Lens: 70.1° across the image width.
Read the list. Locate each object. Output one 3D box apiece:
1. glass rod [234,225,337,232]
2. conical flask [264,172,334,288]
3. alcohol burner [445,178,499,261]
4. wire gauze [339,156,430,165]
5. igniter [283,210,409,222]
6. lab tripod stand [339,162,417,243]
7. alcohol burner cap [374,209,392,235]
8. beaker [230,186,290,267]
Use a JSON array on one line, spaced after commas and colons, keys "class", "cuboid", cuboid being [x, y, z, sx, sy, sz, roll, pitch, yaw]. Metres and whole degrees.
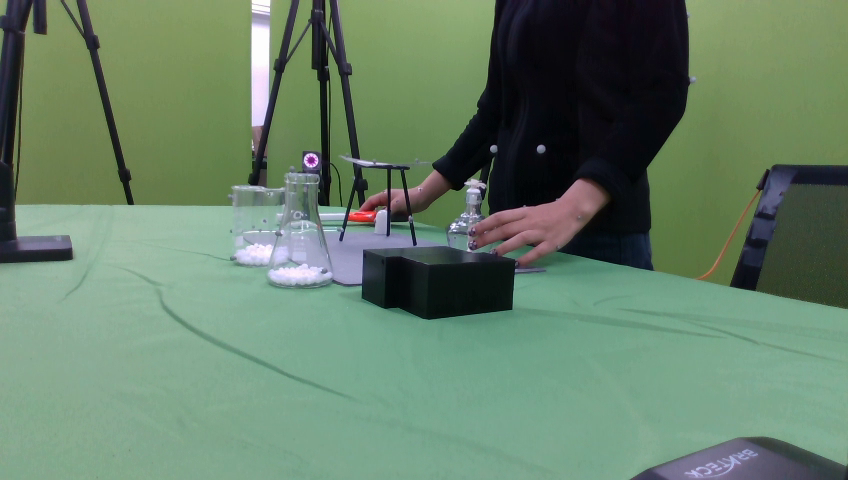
[{"class": "glass rod", "cuboid": [-0.256, -0.023, 1.136, 0.201, 0.008, 0.008, -3, 9, -33]}, {"class": "conical flask", "cuboid": [-0.136, -0.013, 0.660, 0.075, 0.122, 0.075, 2, 7, 0]}, {"class": "alcohol burner", "cuboid": [0.071, -0.030, 0.875, 0.078, 0.119, 0.078, 4, 7, 0]}, {"class": "wire gauze", "cuboid": [-0.067, -0.132, 1.022, 0.122, 0.011, 0.124, -1, 9, -31]}, {"class": "igniter", "cuboid": [-0.158, -0.050, 1.286, 0.278, 0.025, 0.057, -1, 7, -23]}, {"class": "lab tripod stand", "cuboid": [-0.067, -0.065, 1.027, 0.148, 0.131, 0.148, 4, 7, 0]}, {"class": "alcohol burner cap", "cuboid": [-0.078, -0.036, 1.148, 0.034, 0.048, 0.034, 2, 8, 0]}, {"class": "beaker", "cuboid": [-0.209, -0.019, 0.778, 0.074, 0.100, 0.084, 3, 6, 4]}]
